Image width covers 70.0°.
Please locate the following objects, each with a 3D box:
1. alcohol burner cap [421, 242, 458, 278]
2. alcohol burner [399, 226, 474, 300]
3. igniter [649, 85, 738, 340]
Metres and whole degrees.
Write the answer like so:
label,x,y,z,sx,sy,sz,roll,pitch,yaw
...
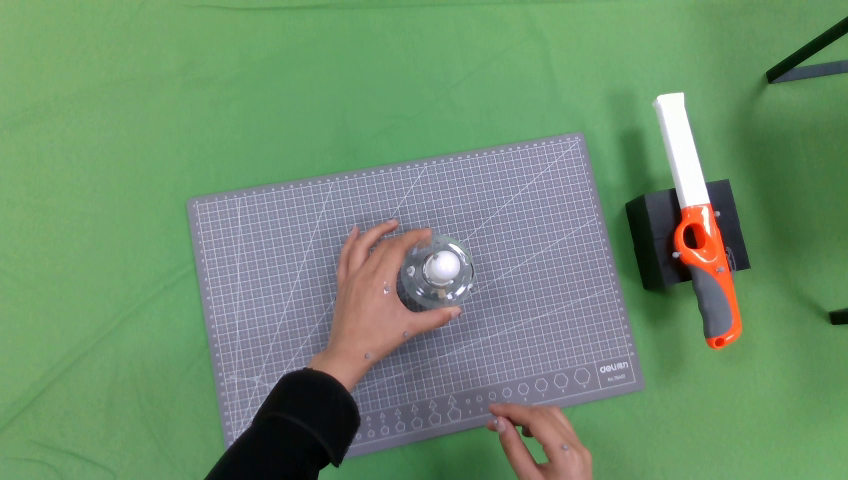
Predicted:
label,x,y,z,sx,sy,sz,roll,pitch,yaw
alcohol burner cap,0.017,0.018,0.580,0.034,0.048,0.033,1,80,-8
alcohol burner,0.015,0.022,0.610,0.078,0.119,0.077,1,82,-7
igniter,0.286,-0.033,0.645,0.057,0.025,0.275,-8,80,-6
